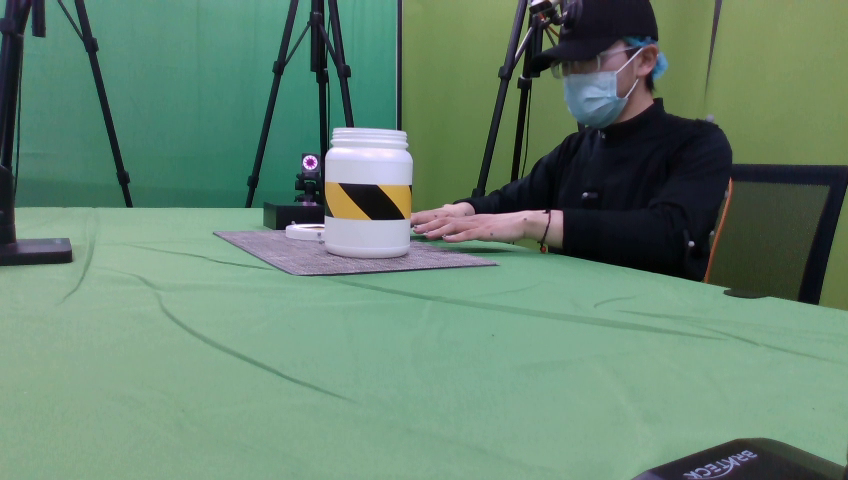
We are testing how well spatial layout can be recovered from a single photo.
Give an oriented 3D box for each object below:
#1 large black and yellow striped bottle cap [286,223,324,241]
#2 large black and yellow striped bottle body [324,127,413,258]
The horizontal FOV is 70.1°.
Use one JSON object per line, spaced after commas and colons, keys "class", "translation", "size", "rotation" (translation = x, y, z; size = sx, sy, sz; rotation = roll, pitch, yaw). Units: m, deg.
{"class": "large black and yellow striped bottle cap", "translation": [-0.187, -0.015, 1.077], "size": [0.115, 0.019, 0.115], "rotation": [2, 9, 0]}
{"class": "large black and yellow striped bottle body", "translation": [-0.083, -0.073, 0.899], "size": [0.131, 0.184, 0.130], "rotation": [2, 7, 0]}
